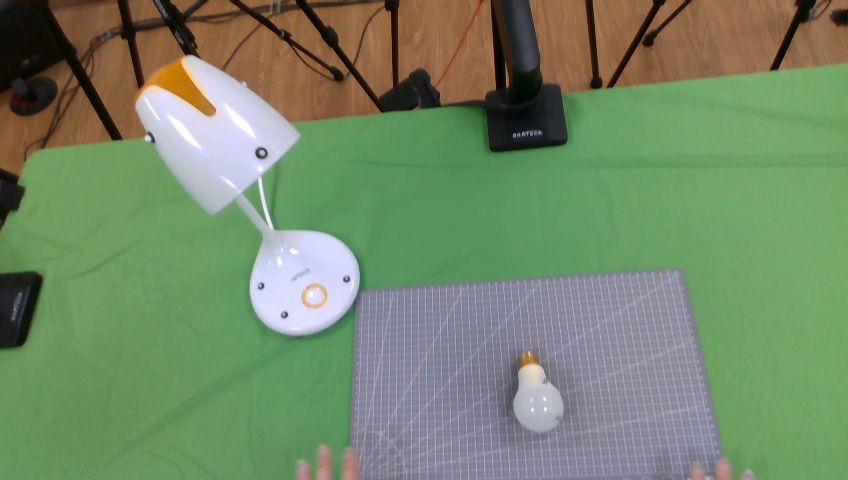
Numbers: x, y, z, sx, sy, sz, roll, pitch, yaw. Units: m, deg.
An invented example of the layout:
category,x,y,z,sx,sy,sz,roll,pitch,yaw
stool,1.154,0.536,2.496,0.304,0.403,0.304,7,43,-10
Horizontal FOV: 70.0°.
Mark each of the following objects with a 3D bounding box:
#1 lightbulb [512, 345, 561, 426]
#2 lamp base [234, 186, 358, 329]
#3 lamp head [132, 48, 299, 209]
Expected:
category,x,y,z,sx,sy,sz,roll,pitch,yaw
lightbulb,0.135,0.178,0.751,0.059,0.060,0.106,-10,48,4
lamp base,-0.193,0.011,0.807,0.160,0.182,0.177,-42,63,-12
lamp head,-0.191,-0.105,0.536,0.123,0.112,0.112,46,75,-14
